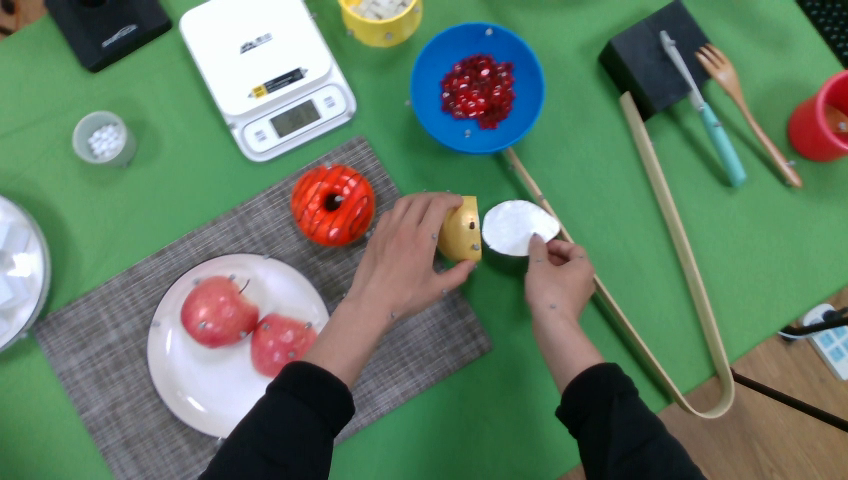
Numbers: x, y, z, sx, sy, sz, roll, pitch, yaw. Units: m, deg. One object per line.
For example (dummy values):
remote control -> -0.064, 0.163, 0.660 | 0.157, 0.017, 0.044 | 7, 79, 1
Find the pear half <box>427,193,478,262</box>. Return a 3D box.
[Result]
pear half -> 0.033, -0.015, 0.655 | 0.056, 0.110, 0.076 | -10, 82, -4

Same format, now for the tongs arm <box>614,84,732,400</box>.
tongs arm -> 0.293, -0.002, 0.719 | 0.028, 0.028, 0.386 | -17, 85, -11

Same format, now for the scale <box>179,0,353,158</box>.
scale -> -0.189, -0.213, 0.728 | 0.149, 0.031, 0.200 | -27, 86, -3

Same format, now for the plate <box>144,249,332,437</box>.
plate -> -0.206, 0.115, 0.688 | 0.209, 0.038, 0.208 | 0, 84, -1

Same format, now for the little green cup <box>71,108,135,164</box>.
little green cup -> -0.374, -0.119, 0.713 | 0.061, 0.039, 0.061 | 0, 84, 0

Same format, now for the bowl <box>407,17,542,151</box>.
bowl -> 0.055, -0.170, 0.705 | 0.151, 0.077, 0.151 | 0, 85, -1

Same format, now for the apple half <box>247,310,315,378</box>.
apple half -> -0.166, 0.119, 0.684 | 0.081, 0.033, 0.081 | 0, 84, 0

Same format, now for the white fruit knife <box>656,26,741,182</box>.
white fruit knife -> 0.320, -0.157, 0.707 | 0.016, 0.027, 0.208 | -34, 100, -4

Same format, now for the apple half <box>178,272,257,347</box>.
apple half -> -0.235, 0.079, 0.674 | 0.074, 0.053, 0.081 | -38, 89, -2

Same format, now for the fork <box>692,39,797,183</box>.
fork -> 0.382, -0.149, 0.715 | 0.028, 0.018, 0.208 | -41, 102, -7

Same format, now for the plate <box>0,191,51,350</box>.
plate -> -0.529, 0.037, 0.695 | 0.208, 0.039, 0.207 | 0, 84, -1

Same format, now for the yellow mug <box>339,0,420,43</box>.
yellow mug -> -0.069, -0.302, 0.721 | 0.131, 0.064, 0.100 | 26, 85, 3

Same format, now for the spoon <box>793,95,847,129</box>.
spoon -> 0.502, -0.118, 0.673 | 0.041, 0.022, 0.191 | -37, 42, -5

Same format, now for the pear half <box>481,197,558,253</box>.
pear half -> 0.112, -0.015, 0.712 | 0.088, 0.031, 0.070 | -1, 76, 8

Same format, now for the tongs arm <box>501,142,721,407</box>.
tongs arm -> 0.216, 0.036, 0.709 | 0.051, 0.026, 0.384 | -32, 87, -9

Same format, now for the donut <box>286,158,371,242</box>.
donut -> -0.110, -0.046, 0.703 | 0.099, 0.048, 0.099 | 0, 86, 1
